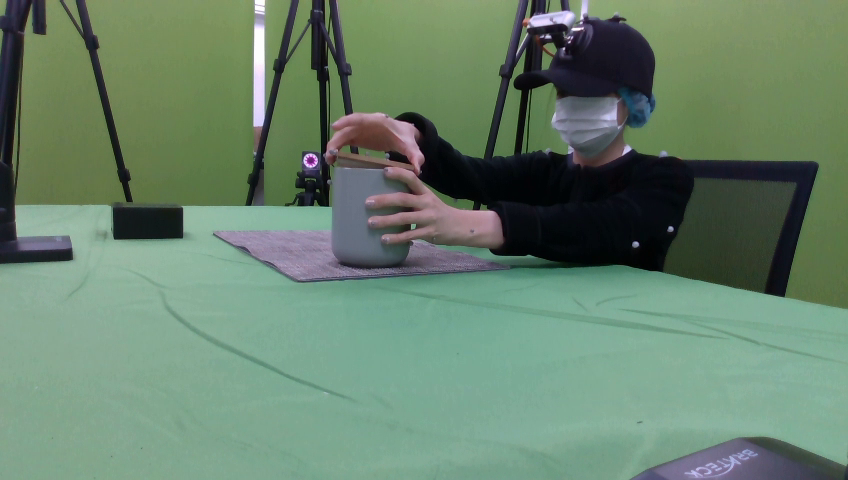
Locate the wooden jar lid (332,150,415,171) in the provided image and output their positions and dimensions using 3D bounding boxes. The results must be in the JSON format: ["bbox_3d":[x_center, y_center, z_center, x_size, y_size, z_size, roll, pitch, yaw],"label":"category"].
[{"bbox_3d":[-0.066,-0.097,0.782,0.108,0.020,0.108,11,7,-1],"label":"wooden jar lid"}]

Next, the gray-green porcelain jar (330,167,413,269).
[{"bbox_3d":[-0.069,-0.030,0.791,0.106,0.126,0.106,3,7,0],"label":"gray-green porcelain jar"}]
